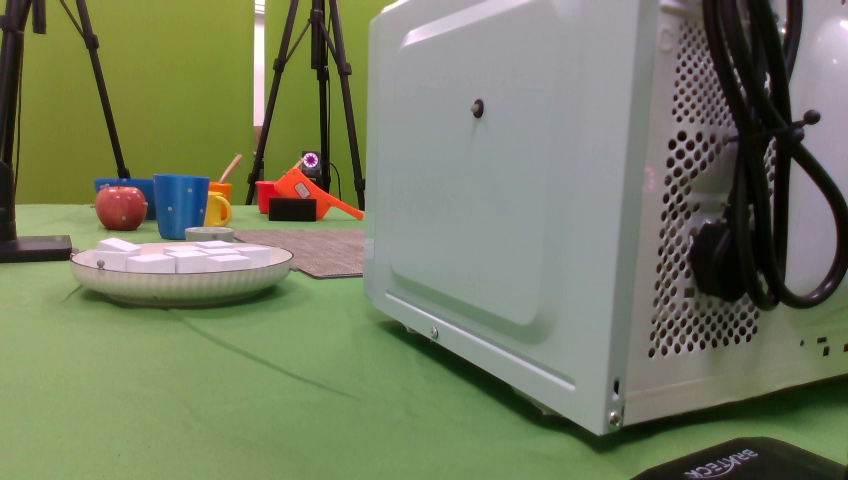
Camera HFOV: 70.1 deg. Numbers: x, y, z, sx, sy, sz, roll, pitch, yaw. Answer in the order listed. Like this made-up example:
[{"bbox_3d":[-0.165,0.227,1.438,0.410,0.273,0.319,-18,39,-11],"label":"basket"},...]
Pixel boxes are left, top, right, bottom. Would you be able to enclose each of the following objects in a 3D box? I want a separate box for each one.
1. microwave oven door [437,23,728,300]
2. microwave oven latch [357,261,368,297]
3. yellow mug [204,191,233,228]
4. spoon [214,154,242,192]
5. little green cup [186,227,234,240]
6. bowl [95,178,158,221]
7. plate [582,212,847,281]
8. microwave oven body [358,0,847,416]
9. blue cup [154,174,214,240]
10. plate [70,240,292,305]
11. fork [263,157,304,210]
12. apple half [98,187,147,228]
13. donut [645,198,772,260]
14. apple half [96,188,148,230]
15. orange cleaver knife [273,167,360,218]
[{"bbox_3d":[0.181,-0.072,0.621,0.358,0.243,0.039,-2,8,-29],"label":"microwave oven door"},{"bbox_3d":[-0.019,0.033,0.530,0.079,0.029,0.030,-1,7,-26],"label":"microwave oven latch"},{"bbox_3d":[-0.415,-0.057,1.131,0.130,0.064,0.100,6,8,16],"label":"yellow mug"},{"bbox_3d":[-0.439,-0.124,1.318,0.041,0.193,0.022,6,-36,16],"label":"spoon"},{"bbox_3d":[-0.284,0.005,0.805,0.061,0.038,0.061,2,8,0],"label":"little green cup"},{"bbox_3d":[-0.576,-0.081,1.217,0.151,0.077,0.151,3,8,0],"label":"bowl"},{"bbox_3d":[0.239,0.003,0.510,0.209,0.038,0.209,2,7,0],"label":"plate"},{"bbox_3d":[0.211,-0.047,0.474,0.444,0.260,0.324,-1,7,-28],"label":"microwave oven body"},{"bbox_3d":[-0.391,-0.053,0.978,0.093,0.100,0.092,3,6,0],"label":"blue cup"},{"bbox_3d":[-0.242,0.031,0.618,0.208,0.039,0.207,2,8,0],"label":"plate"},{"bbox_3d":[-0.345,-0.143,1.506,0.028,0.019,0.207,-4,46,29],"label":"fork"},{"bbox_3d":[-0.534,-0.059,1.071,0.082,0.081,0.032,-1,11,-25],"label":"apple half"},{"bbox_3d":[0.239,-0.008,0.513,0.099,0.048,0.099,10,1,0],"label":"donut"},{"bbox_3d":[-0.517,-0.052,1.036,0.081,0.074,0.053,2,10,-26],"label":"apple half"},{"bbox_3d":[-0.238,-0.091,1.381,0.212,0.077,0.012,31,0,-19],"label":"orange cleaver knife"}]
